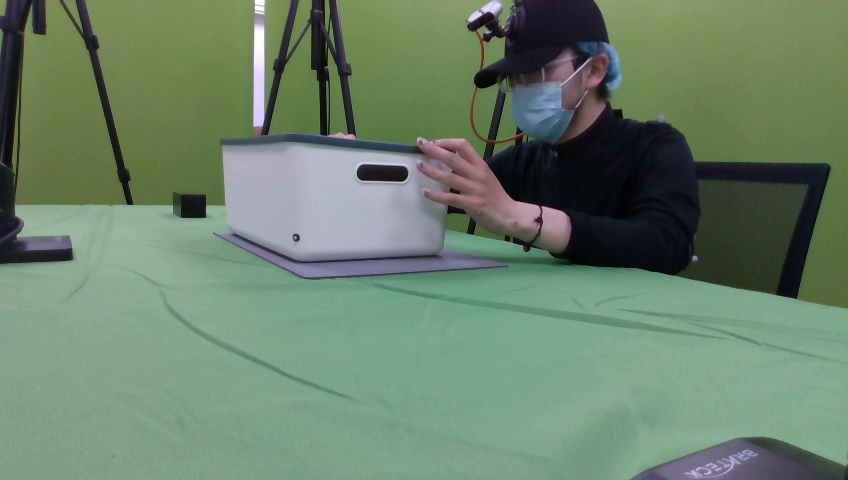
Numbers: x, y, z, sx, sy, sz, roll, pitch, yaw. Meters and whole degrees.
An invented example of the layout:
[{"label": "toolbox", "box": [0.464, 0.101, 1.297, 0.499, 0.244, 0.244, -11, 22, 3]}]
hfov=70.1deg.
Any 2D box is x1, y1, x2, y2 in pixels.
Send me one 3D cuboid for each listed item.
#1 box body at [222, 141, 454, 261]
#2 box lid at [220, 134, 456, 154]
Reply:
[{"label": "box body", "box": [-0.152, -0.074, 0.963, 0.255, 0.160, 0.362, -3, 9, -33]}, {"label": "box lid", "box": [-0.148, -0.147, 0.951, 0.265, 0.015, 0.369, -2, 8, -33]}]
